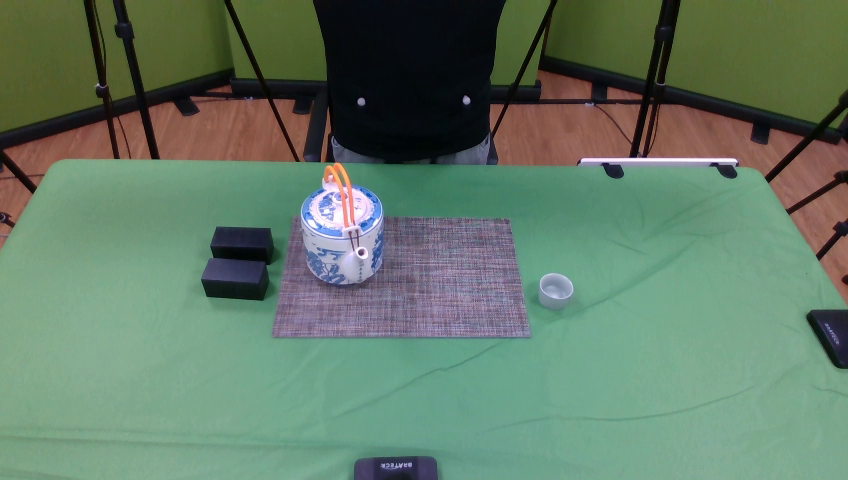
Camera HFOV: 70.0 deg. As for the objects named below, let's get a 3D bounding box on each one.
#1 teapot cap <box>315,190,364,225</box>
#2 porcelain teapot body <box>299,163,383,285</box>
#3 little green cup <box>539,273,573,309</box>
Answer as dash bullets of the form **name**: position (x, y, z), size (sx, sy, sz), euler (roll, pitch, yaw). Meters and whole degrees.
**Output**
- **teapot cap**: position (-0.145, -0.061, 1.045), size (0.085, 0.044, 0.084), euler (1, 49, -1)
- **porcelain teapot body**: position (-0.134, -0.014, 1.056), size (0.145, 0.226, 0.204), euler (-16, 50, -19)
- **little green cup**: position (0.240, 0.096, 1.113), size (0.061, 0.039, 0.061), euler (2, 47, -2)
